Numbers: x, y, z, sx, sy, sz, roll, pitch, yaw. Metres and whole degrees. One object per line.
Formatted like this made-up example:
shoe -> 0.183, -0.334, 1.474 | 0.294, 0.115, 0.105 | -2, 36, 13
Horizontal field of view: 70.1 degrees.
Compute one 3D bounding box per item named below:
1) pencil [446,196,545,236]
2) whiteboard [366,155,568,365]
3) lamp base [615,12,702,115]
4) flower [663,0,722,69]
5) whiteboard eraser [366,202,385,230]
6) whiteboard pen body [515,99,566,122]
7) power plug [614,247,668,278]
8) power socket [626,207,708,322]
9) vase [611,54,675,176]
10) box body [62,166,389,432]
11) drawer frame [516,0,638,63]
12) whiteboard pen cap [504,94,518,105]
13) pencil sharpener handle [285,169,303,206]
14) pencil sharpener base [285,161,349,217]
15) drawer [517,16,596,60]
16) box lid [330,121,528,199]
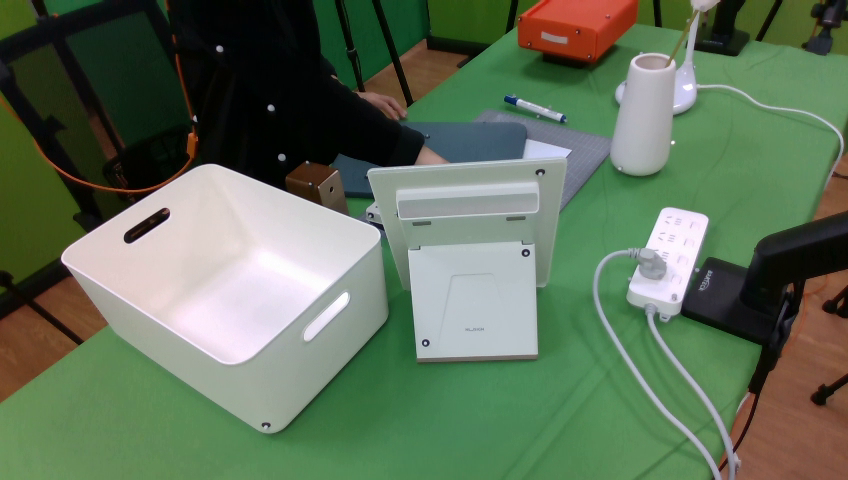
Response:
pencil -> 0.118, -0.038, 0.977 | 0.195, 0.012, 0.012 | -21, 42, -23
whiteboard -> 0.059, 0.050, 0.738 | 0.217, 0.307, 0.143 | -2, 60, 5
lamp base -> 0.484, -0.364, 1.211 | 0.180, 0.181, 0.159 | -15, 41, -14
flower -> 0.379, -0.261, 0.965 | 0.044, 0.362, 0.038 | 20, 53, 5
whiteboard eraser -> -0.037, -0.038, 1.006 | 0.112, 0.042, 0.055 | 16, 48, 25
whiteboard pen body -> 0.233, -0.274, 1.262 | 0.139, 0.017, 0.017 | 28, 51, 29
power plug -> 0.306, 0.031, 0.851 | 0.072, 0.053, 0.035 | 24, 49, 33
power socket -> 0.359, 0.025, 0.886 | 0.072, 0.033, 0.227 | 16, 46, 26
vase -> 0.377, -0.209, 1.031 | 0.098, 0.201, 0.097 | -3, 40, 3
box body -> -0.255, 0.065, 0.827 | 0.361, 0.161, 0.255 | 21, 48, 29
drawer frame -> 0.355, -0.508, 1.411 | 0.200, 0.083, 0.214 | 23, 51, 32
whiteboard pen cap -> 0.190, -0.299, 1.292 | 0.033, 0.018, 0.018 | 30, 52, 28
pencil sharpener handle -> -0.227, -0.091, 1.031 | 0.030, 0.068, 0.036 | 16, 35, 26
pencil sharpener base -> -0.180, -0.071, 1.019 | 0.076, 0.107, 0.061 | 16, 46, 26
drawer -> 0.352, -0.506, 1.405 | 0.193, 0.073, 0.212 | 23, 49, 32
box lid -> 0.009, -0.158, 1.167 | 0.370, 0.015, 0.262 | 3, 41, 13
